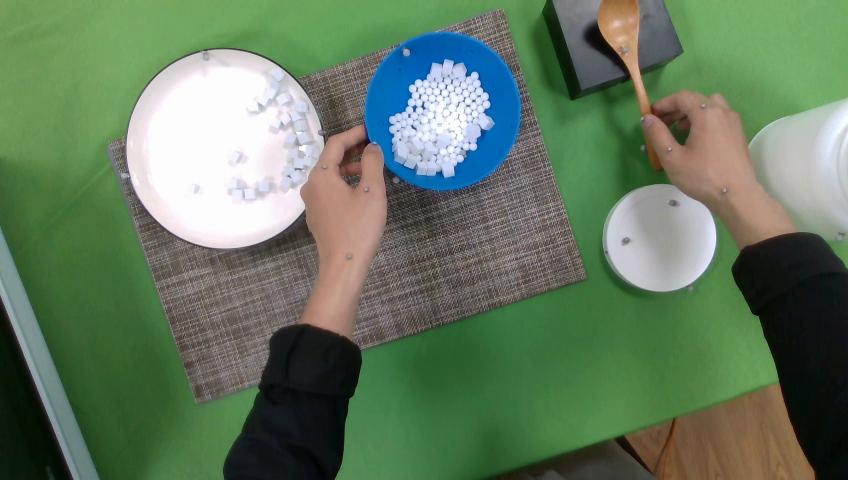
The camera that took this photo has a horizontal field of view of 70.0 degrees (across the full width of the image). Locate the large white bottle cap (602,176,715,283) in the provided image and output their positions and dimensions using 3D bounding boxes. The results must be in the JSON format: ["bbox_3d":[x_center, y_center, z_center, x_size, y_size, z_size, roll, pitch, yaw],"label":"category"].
[{"bbox_3d":[0.249,-0.010,0.645,0.115,0.018,0.115,0,94,2],"label":"large white bottle cap"}]

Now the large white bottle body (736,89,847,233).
[{"bbox_3d":[0.390,-0.071,0.555,0.130,0.184,0.130,0,92,2],"label":"large white bottle body"}]

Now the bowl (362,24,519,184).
[{"bbox_3d":[0.017,-0.129,0.611,0.151,0.077,0.151,0,93,2],"label":"bowl"}]

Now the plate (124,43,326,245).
[{"bbox_3d":[-0.205,-0.098,0.638,0.209,0.038,0.209,0,93,1],"label":"plate"}]

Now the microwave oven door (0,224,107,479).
[{"bbox_3d":[-0.415,0.145,0.541,0.039,0.243,0.356,-21,92,3],"label":"microwave oven door"}]

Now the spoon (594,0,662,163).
[{"bbox_3d":[0.210,-0.159,0.602,0.041,0.021,0.195,-27,114,-2],"label":"spoon"}]

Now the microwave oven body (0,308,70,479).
[{"bbox_3d":[-0.566,0.157,0.550,0.326,0.260,0.442,-20,93,2],"label":"microwave oven body"}]
